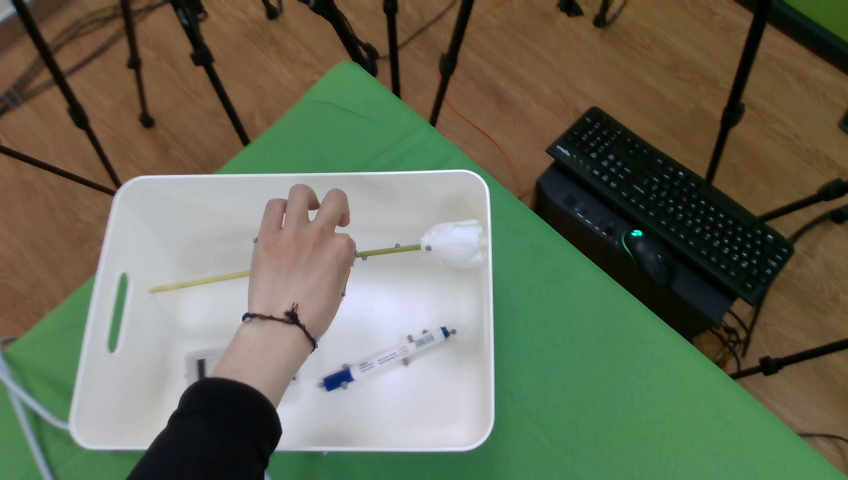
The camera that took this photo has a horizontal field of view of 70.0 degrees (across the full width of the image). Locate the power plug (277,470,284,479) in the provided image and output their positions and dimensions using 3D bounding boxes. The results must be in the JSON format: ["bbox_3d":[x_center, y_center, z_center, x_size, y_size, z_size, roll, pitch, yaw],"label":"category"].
[{"bbox_3d":[-0.131,0.267,0.590,0.035,0.053,0.072,12,67,9],"label":"power plug"}]

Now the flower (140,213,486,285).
[{"bbox_3d":[-0.119,0.019,0.588,0.361,0.038,0.044,-8,96,13],"label":"flower"}]

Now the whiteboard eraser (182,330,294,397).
[{"bbox_3d":[-0.199,0.132,0.652,0.113,0.042,0.055,-9,72,-2],"label":"whiteboard eraser"}]

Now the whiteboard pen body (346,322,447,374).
[{"bbox_3d":[-0.041,0.122,0.661,0.141,0.017,0.017,-23,70,0],"label":"whiteboard pen body"}]

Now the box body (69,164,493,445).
[{"bbox_3d":[-0.117,0.076,0.612,0.364,0.161,0.252,-1,70,3],"label":"box body"}]

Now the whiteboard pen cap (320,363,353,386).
[{"bbox_3d":[-0.094,0.144,0.655,0.033,0.018,0.018,-23,70,-4],"label":"whiteboard pen cap"}]
